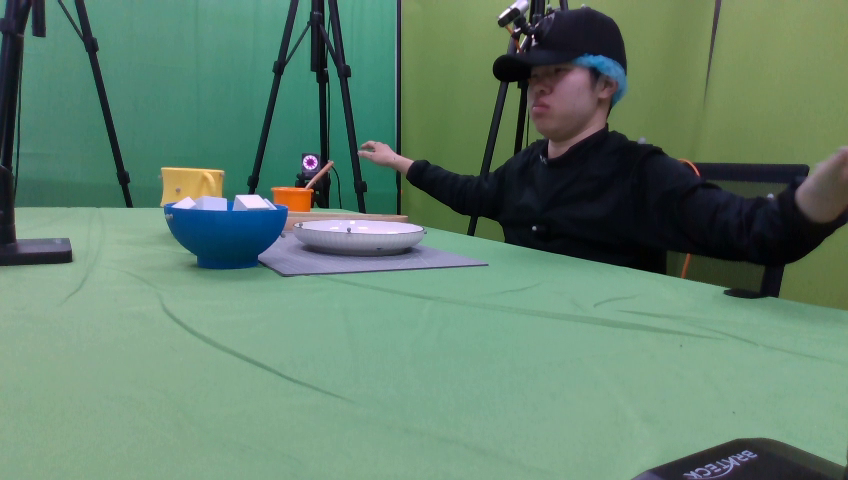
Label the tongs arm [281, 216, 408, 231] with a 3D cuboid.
[{"bbox_3d":[-0.181,-0.033,1.200,0.390,0.028,0.028,-2,4,-39],"label":"tongs arm"}]

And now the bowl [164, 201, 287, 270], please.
[{"bbox_3d":[-0.254,-0.006,0.782,0.151,0.077,0.151,2,8,0],"label":"bowl"}]

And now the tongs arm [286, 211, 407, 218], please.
[{"bbox_3d":[-0.222,-0.045,1.271,0.387,0.026,0.050,1,6,-25],"label":"tongs arm"}]

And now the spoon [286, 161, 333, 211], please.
[{"bbox_3d":[-0.262,-0.115,1.359,0.041,0.194,0.022,13,-32,37],"label":"spoon"}]

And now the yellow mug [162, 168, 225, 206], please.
[{"bbox_3d":[-0.383,-0.087,1.026,0.130,0.064,0.100,11,11,44],"label":"yellow mug"}]

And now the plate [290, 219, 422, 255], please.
[{"bbox_3d":[-0.108,-0.005,0.963,0.208,0.039,0.207,3,7,0],"label":"plate"}]
